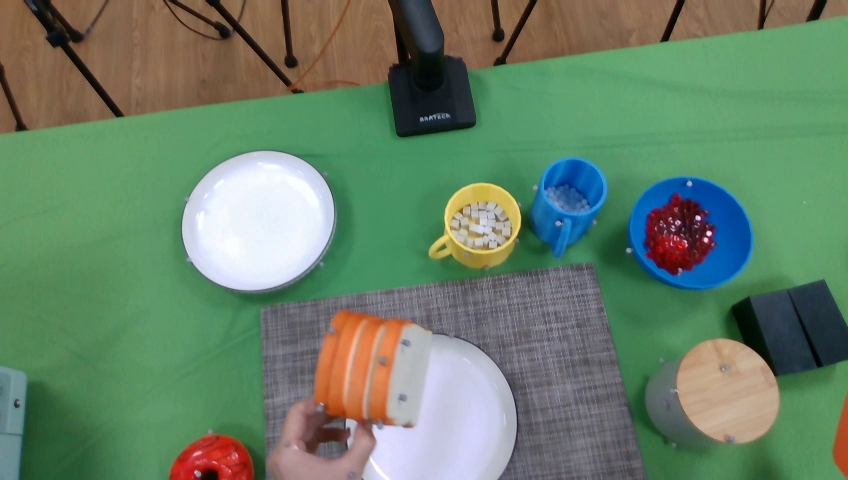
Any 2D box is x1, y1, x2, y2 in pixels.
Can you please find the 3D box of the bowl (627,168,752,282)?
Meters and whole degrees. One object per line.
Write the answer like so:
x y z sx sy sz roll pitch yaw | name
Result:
0.331 -0.009 0.786 0.151 0.077 0.150 -1 71 2 | bowl

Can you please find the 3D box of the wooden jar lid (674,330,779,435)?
0.316 0.150 0.639 0.108 0.021 0.107 0 72 0 | wooden jar lid

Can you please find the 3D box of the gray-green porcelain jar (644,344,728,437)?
0.319 0.172 0.698 0.106 0.127 0.105 0 70 1 | gray-green porcelain jar

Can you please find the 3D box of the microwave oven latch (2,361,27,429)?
-0.508 0.189 0.740 0.030 0.030 0.078 -5 71 -1 | microwave oven latch

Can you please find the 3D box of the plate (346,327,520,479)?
0.011 0.211 0.736 0.209 0.038 0.207 -1 71 2 | plate

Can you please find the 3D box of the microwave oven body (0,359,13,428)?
-0.634 0.342 0.589 0.326 0.262 0.438 -8 71 -2 | microwave oven body

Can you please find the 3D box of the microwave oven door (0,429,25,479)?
-0.484 0.359 0.573 0.039 0.245 0.353 -8 70 -1 | microwave oven door

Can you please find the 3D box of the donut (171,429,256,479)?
-0.248 0.276 0.720 0.099 0.048 0.098 0 70 -1 | donut

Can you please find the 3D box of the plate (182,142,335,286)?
-0.223 -0.034 0.832 0.207 0.039 0.206 0 71 1 | plate

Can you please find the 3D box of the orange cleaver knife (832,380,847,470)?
0.449 0.219 0.628 0.012 0.077 0.212 -2 109 3 | orange cleaver knife

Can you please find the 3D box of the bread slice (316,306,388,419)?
-0.065 0.120 0.609 0.018 0.135 0.106 6 71 22 | bread slice

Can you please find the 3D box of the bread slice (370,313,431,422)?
-0.020 0.126 0.591 0.019 0.132 0.104 7 77 15 | bread slice

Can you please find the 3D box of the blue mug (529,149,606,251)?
0.181 -0.043 0.788 0.082 0.106 0.116 10 71 6 | blue mug

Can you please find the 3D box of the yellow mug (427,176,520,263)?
0.062 -0.019 0.803 0.131 0.064 0.099 -30 72 -7 | yellow mug
